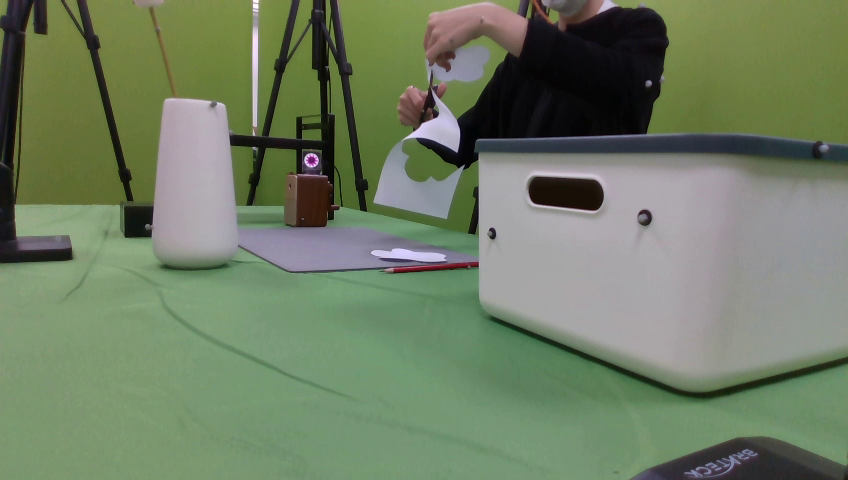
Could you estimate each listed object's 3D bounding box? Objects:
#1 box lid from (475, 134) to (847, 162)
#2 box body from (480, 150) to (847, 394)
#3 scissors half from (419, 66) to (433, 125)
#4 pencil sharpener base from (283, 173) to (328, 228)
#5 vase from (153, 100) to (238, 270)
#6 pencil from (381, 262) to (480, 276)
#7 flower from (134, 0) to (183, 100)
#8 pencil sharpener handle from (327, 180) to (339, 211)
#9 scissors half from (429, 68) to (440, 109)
[{"bbox_3d":[0.256,-0.073,0.528,0.373,0.015,0.262,-2,8,-31],"label":"box lid"},{"bbox_3d":[0.254,0.001,0.539,0.366,0.160,0.253,-2,9,-31],"label":"box body"},{"bbox_3d":[0.007,-0.260,1.094,0.013,0.040,0.175,26,-23,6],"label":"scissors half"},{"bbox_3d":[-0.239,-0.081,1.231,0.077,0.107,0.061,-2,8,-36],"label":"pencil sharpener base"},{"bbox_3d":[-0.278,-0.066,0.736,0.098,0.200,0.098,2,9,0],"label":"vase"},{"bbox_3d":[0.030,0.037,0.794,0.195,0.012,0.012,-4,10,-30],"label":"pencil"},{"bbox_3d":[-0.282,-0.147,0.713,0.038,0.362,0.044,-23,24,-31],"label":"flower"},{"bbox_3d":[-0.194,-0.095,1.256,0.031,0.067,0.036,-2,-6,-36],"label":"pencil sharpener handle"},{"bbox_3d":[0.016,-0.279,1.099,0.013,0.040,0.175,21,-2,5],"label":"scissors half"}]
